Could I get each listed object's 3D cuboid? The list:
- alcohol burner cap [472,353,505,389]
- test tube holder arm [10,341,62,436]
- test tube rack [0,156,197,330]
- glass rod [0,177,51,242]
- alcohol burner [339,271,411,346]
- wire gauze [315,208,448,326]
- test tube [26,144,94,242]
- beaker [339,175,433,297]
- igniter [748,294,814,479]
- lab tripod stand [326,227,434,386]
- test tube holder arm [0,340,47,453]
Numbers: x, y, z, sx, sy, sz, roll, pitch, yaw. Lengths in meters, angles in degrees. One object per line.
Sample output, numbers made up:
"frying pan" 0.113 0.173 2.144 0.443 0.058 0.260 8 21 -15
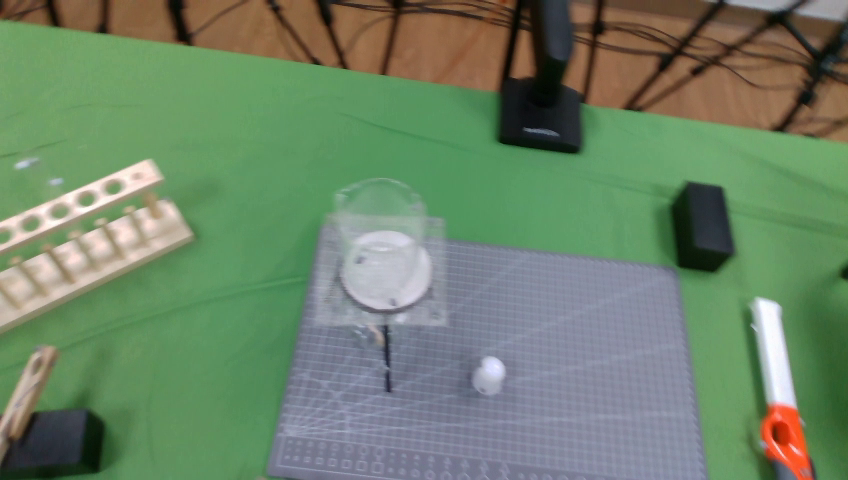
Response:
"alcohol burner cap" 0.071 0.139 0.650 0.034 0.048 0.033 1 61 -2
"test tube holder arm" -0.365 0.138 0.566 0.010 0.015 0.087 10 57 1
"test tube rack" -0.386 0.005 0.661 0.242 0.086 0.066 -29 66 -21
"glass rod" -0.410 -0.039 0.607 0.008 0.201 0.008 0 52 0
"alcohol burner" -0.051 0.065 0.639 0.078 0.120 0.077 4 58 -6
"wire gauze" -0.038 0.024 0.577 0.121 0.011 0.124 2 62 -3
"test tube" -0.376 -0.042 0.633 0.017 0.151 0.017 4 54 -4
"beaker" -0.038 0.000 0.534 0.083 0.101 0.073 30 61 12
"igniter" 0.390 0.186 0.665 0.057 0.025 0.274 15 59 -9
"lab tripod stand" -0.040 0.062 0.631 0.148 0.132 0.147 3 59 -5
"test tube holder arm" -0.377 0.174 0.542 0.013 0.015 0.177 9 57 0
